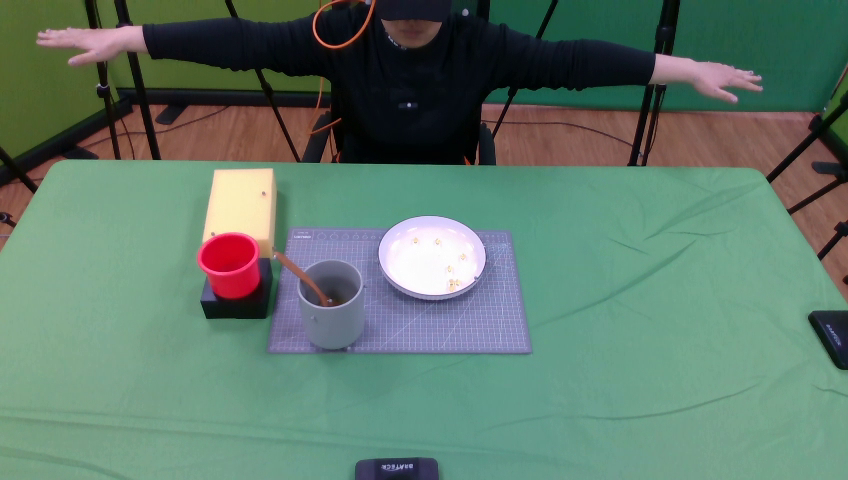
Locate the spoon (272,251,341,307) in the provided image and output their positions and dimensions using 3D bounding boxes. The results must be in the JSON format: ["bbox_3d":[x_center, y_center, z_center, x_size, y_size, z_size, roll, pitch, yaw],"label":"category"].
[{"bbox_3d":[-0.180,0.077,0.981,0.021,0.195,0.041,-9,46,28],"label":"spoon"}]

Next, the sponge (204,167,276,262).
[{"bbox_3d":[-0.358,-0.054,1.196,0.118,0.061,0.205,-4,47,-8],"label":"sponge"}]

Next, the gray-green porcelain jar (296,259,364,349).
[{"bbox_3d":[-0.152,0.111,1.003,0.106,0.127,0.105,2,46,-2],"label":"gray-green porcelain jar"}]

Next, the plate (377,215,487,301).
[{"bbox_3d":[0.014,0.037,1.147,0.208,0.039,0.206,2,46,-2],"label":"plate"}]
